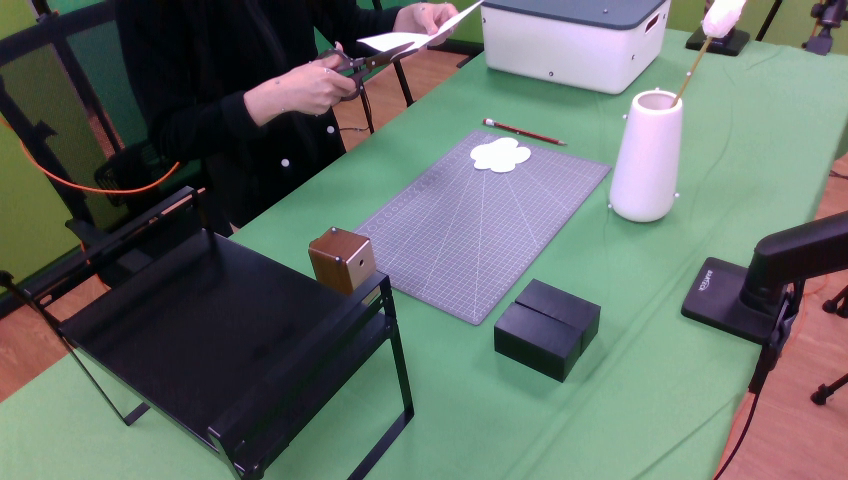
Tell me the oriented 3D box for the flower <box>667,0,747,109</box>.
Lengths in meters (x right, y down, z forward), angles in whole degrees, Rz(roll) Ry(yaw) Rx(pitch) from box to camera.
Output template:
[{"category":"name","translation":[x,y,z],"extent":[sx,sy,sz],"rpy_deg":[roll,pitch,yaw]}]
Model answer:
[{"category":"flower","translation":[0.354,-0.187,0.879],"extent":[0.038,0.362,0.044],"rpy_deg":[31,48,14]}]

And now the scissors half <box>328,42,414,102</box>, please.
[{"category":"scissors half","translation":[-0.082,-0.260,0.936],"extent":[0.174,0.040,0.013],"rpy_deg":[-26,22,33]}]

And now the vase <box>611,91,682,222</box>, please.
[{"category":"vase","translation":[0.348,-0.125,0.935],"extent":[0.098,0.201,0.097],"rpy_deg":[-3,40,3]}]

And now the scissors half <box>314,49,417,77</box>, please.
[{"category":"scissors half","translation":[-0.092,-0.278,0.926],"extent":[0.174,0.040,0.013],"rpy_deg":[-1,39,19]}]

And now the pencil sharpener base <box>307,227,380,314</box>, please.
[{"category":"pencil sharpener base","translation":[-0.116,0.043,0.875],"extent":[0.076,0.107,0.061],"rpy_deg":[18,47,28]}]

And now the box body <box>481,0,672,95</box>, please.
[{"category":"box body","translation":[0.341,-0.480,1.381],"extent":[0.361,0.161,0.255],"rpy_deg":[22,48,30]}]

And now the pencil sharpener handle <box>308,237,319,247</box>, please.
[{"category":"pencil sharpener handle","translation":[-0.158,0.017,0.892],"extent":[0.030,0.068,0.036],"rpy_deg":[18,61,28]}]

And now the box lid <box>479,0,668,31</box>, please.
[{"category":"box lid","translation":[0.335,-0.536,1.331],"extent":[0.368,0.015,0.264],"rpy_deg":[23,49,30]}]

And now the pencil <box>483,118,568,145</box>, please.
[{"category":"pencil","translation":[0.202,-0.217,1.213],"extent":[0.192,0.012,0.012],"rpy_deg":[24,49,29]}]
